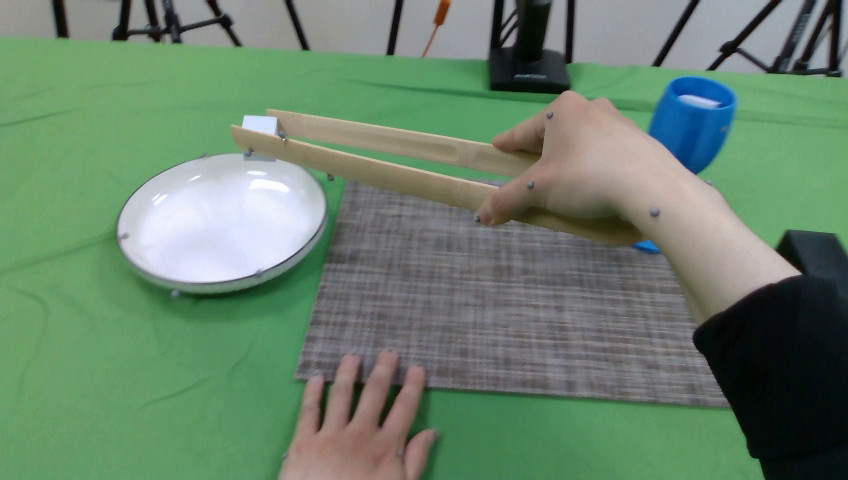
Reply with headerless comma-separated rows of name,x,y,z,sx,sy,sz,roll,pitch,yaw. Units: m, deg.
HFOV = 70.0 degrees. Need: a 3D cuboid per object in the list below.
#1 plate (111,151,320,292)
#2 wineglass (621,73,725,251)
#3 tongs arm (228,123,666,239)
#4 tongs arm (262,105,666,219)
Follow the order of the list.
plate,-0.212,-0.020,0.637,0.209,0.038,0.207,1,43,-1
wineglass,0.243,-0.076,0.616,0.074,0.174,0.073,1,43,-1
tongs arm,-0.012,-0.059,0.479,0.382,0.027,0.050,18,41,32
tongs arm,0.003,-0.074,0.497,0.384,0.028,0.028,16,37,30
